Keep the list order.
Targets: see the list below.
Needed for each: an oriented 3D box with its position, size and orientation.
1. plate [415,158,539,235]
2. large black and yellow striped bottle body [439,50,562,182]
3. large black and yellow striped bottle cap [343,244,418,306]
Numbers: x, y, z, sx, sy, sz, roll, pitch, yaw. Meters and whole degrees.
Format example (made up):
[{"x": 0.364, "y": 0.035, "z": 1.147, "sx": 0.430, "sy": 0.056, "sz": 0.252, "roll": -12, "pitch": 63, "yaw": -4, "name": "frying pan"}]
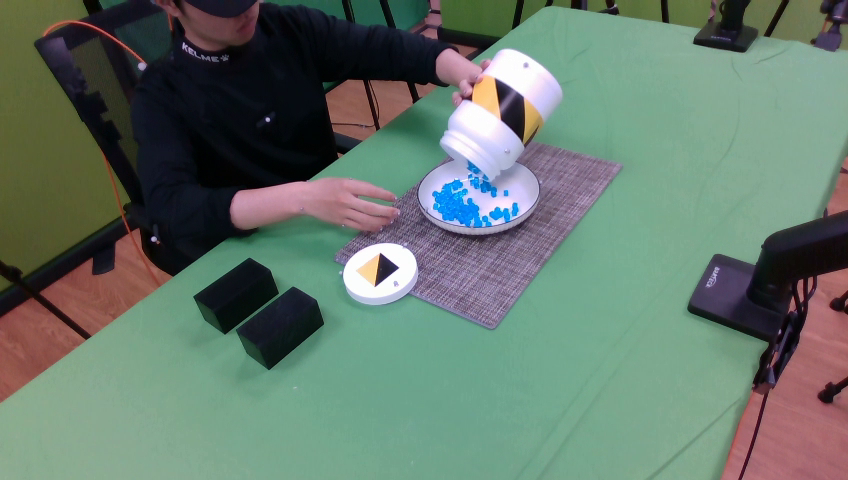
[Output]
[{"x": 0.090, "y": -0.074, "z": 1.025, "sx": 0.207, "sy": 0.039, "sz": 0.206, "roll": -4, "pitch": 41, "yaw": 4, "name": "plate"}, {"x": 0.121, "y": -0.199, "z": 0.986, "sx": 0.129, "sy": 0.132, "sz": 0.184, "roll": 38, "pitch": 90, "yaw": 40, "name": "large black and yellow striped bottle body"}, {"x": -0.066, "y": 0.051, "z": 0.918, "sx": 0.115, "sy": 0.019, "sz": 0.114, "roll": -6, "pitch": 43, "yaw": 6, "name": "large black and yellow striped bottle cap"}]
